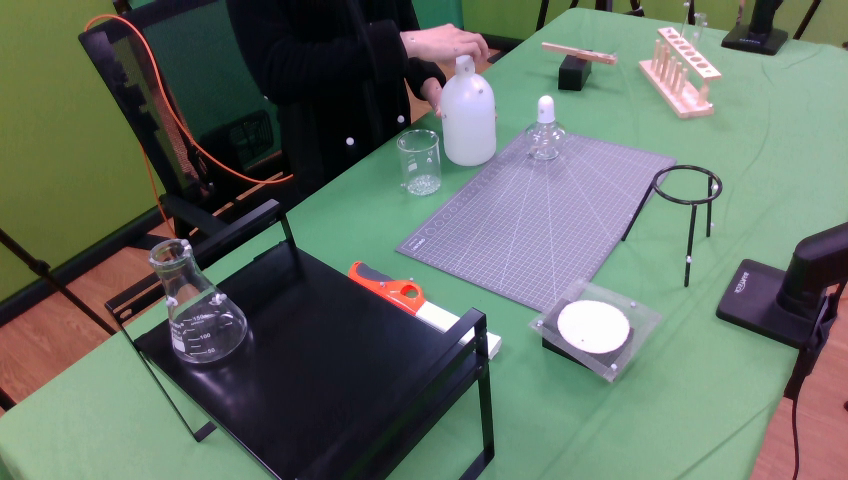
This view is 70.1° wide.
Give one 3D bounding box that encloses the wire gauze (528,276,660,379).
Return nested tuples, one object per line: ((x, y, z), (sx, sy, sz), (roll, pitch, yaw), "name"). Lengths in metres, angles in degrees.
((0.213, 0.103, 0.763), (0.124, 0.011, 0.122), (30, 52, 35), "wire gauze")

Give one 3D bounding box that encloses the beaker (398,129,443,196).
((-0.002, -0.139, 1.087), (0.073, 0.101, 0.084), (28, 51, 35), "beaker")

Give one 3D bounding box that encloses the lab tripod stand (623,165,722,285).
((0.365, -0.030, 0.874), (0.148, 0.132, 0.147), (-6, 41, 6), "lab tripod stand")

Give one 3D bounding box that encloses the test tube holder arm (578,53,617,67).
((0.376, -0.393, 1.314), (0.087, 0.015, 0.010), (26, 51, 32), "test tube holder arm")

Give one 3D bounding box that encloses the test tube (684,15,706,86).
((0.541, -0.378, 1.215), (0.017, 0.151, 0.017), (-2, 44, 3), "test tube")

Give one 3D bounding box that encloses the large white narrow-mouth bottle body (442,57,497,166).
((0.084, -0.242, 1.121), (0.102, 0.195, 0.101), (-4, 40, 4), "large white narrow-mouth bottle body")

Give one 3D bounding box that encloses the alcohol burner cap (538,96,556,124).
((0.222, -0.237, 1.095), (0.034, 0.048, 0.033), (-7, 35, 5), "alcohol burner cap")

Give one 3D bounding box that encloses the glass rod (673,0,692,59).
((0.537, -0.437, 1.257), (0.008, 0.200, 0.008), (0, 39, 1), "glass rod")

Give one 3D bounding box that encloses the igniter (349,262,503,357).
((-0.008, 0.093, 0.870), (0.274, 0.025, 0.057), (24, 60, 33), "igniter")

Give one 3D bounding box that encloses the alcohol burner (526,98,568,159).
((0.228, -0.210, 1.118), (0.078, 0.119, 0.077), (-5, 43, 5), "alcohol burner")

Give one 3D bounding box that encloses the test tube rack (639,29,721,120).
((0.527, -0.351, 1.262), (0.067, 0.085, 0.241), (-8, 40, 1), "test tube rack")

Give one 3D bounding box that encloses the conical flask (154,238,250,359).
((-0.225, 0.055, 0.597), (0.075, 0.122, 0.075), (-5, 41, 4), "conical flask")

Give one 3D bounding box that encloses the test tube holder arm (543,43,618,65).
((0.344, -0.413, 1.340), (0.177, 0.015, 0.013), (25, 51, 31), "test tube holder arm")

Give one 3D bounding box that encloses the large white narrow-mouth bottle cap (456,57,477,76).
((0.075, -0.306, 1.064), (0.038, 0.024, 0.037), (-4, 40, 4), "large white narrow-mouth bottle cap")
